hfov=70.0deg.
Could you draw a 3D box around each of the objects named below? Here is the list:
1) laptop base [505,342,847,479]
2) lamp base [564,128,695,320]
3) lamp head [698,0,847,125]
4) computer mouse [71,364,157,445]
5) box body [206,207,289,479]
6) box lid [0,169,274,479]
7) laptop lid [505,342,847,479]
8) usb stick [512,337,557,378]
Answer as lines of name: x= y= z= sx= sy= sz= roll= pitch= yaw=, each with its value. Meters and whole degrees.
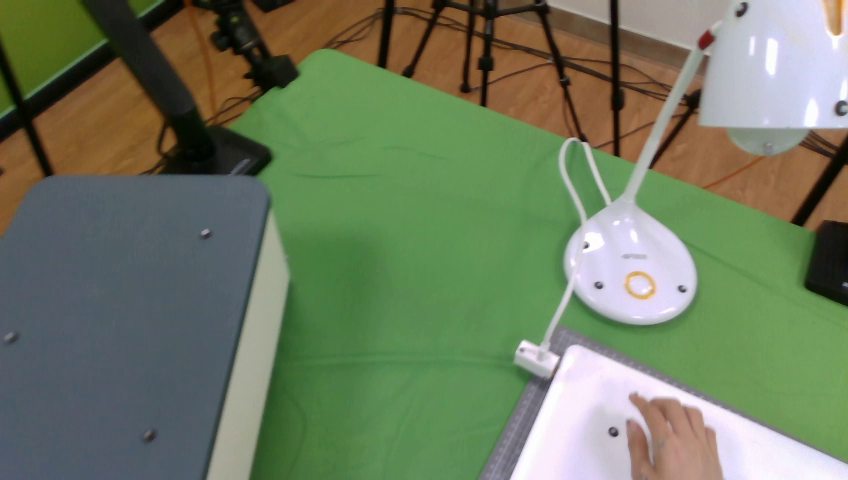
laptop base: x=0.263 y=0.267 z=0.591 sx=0.352 sy=0.023 sz=0.234 roll=23 pitch=61 yaw=16
lamp base: x=0.252 y=-0.025 z=0.704 sx=0.161 sy=0.182 sz=0.177 roll=-8 pitch=51 yaw=-5
lamp head: x=0.264 y=-0.143 z=0.444 sx=0.112 sy=0.112 sz=0.123 roll=-1 pitch=98 yaw=0
computer mouse: x=-0.327 y=0.166 z=0.642 sx=0.063 sy=0.041 sz=0.116 roll=-24 pitch=17 yaw=-5
box body: x=-0.295 y=0.120 z=0.613 sx=0.254 sy=0.162 sz=0.360 roll=2 pitch=54 yaw=1
box lid: x=-0.296 y=0.075 z=0.554 sx=0.263 sy=0.015 sz=0.368 roll=1 pitch=55 yaw=2
laptop lid: x=0.262 y=0.262 z=0.580 sx=0.355 sy=0.013 sz=0.240 roll=24 pitch=60 yaw=17
usb stick: x=0.129 y=0.134 z=0.673 sx=0.059 sy=0.027 sz=0.021 roll=28 pitch=54 yaw=16
